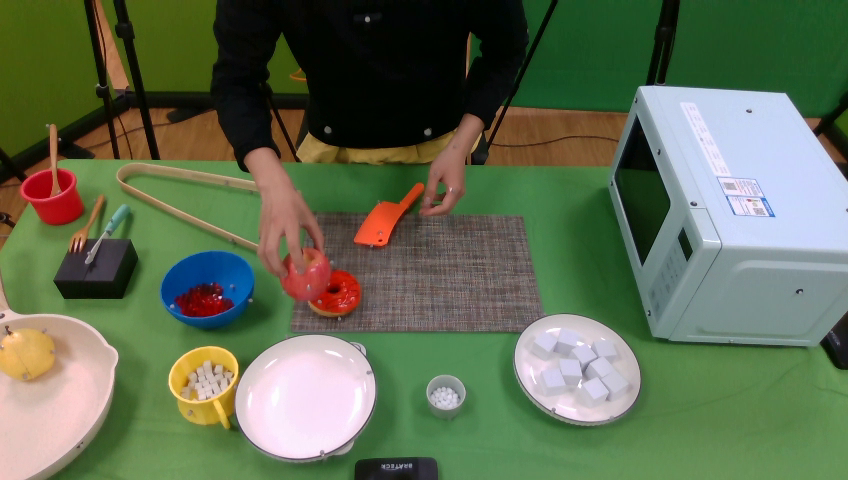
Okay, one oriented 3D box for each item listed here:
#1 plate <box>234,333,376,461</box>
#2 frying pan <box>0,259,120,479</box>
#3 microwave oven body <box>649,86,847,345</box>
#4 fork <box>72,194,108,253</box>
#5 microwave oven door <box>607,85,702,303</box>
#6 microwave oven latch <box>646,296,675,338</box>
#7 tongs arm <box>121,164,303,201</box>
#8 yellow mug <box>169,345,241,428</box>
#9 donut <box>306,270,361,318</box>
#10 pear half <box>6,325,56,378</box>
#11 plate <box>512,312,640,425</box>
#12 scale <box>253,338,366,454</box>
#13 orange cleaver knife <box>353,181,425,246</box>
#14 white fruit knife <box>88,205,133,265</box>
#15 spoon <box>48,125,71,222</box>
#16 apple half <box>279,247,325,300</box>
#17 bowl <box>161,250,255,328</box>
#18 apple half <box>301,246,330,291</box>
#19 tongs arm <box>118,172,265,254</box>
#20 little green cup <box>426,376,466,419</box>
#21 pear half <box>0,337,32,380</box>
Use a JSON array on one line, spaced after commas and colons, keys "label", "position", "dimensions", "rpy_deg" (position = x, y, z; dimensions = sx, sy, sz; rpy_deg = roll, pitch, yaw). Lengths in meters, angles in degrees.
[{"label": "plate", "position": [-0.174, 0.235, 0.907], "dimensions": [0.209, 0.038, 0.208], "rpy_deg": [2, 46, -2]}, {"label": "frying pan", "position": [-0.647, 0.164, 0.936], "dimensions": [0.307, 0.103, 0.485], "rpy_deg": [-19, 58, -22]}, {"label": "microwave oven body", "position": [0.568, -0.053, 1.118], "dimensions": [0.326, 0.261, 0.439], "rpy_deg": [2, 45, -1]}, {"label": "fork", "position": [-0.634, -0.036, 1.158], "dimensions": [0.028, 0.019, 0.206], "rpy_deg": [-8, 32, -8]}, {"label": "microwave oven door", "position": [0.423, -0.094, 1.140], "dimensions": [0.039, 0.245, 0.353], "rpy_deg": [2, 46, -1]}, {"label": "microwave oven latch", "position": [0.412, 0.134, 1.061], "dimensions": [0.030, 0.029, 0.078], "rpy_deg": [4, 45, 1]}, {"label": "tongs arm", "position": [-0.444, -0.114, 1.267], "dimensions": [0.384, 0.026, 0.050], "rpy_deg": [12, 51, 8]}, {"label": "yellow mug", "position": [-0.322, 0.230, 0.922], "dimensions": [0.100, 0.064, 0.130], "rpy_deg": [-24, 53, -25]}, {"label": "donut", "position": [-0.161, 0.095, 1.075], "dimensions": [0.099, 0.048, 0.098], "rpy_deg": [3, 44, -3]}, {"label": "pear half", "position": [-0.608, 0.158, 0.935], "dimensions": [0.076, 0.110, 0.056], "rpy_deg": [31, 51, 20]}, {"label": "plate", "position": [0.246, 0.213, 0.999], "dimensions": [0.208, 0.039, 0.206], "rpy_deg": [2, 46, -2]}, {"label": "scale", "position": [-0.175, 0.236, 0.951], "dimensions": [0.149, 0.032, 0.199], "rpy_deg": [4, 46, 0]}, {"label": "orange cleaver knife", "position": [-0.069, -0.059, 1.245], "dimensions": [0.077, 0.012, 0.210], "rpy_deg": [18, 50, 21]}, {"label": "white fruit knife", "position": [-0.584, -0.013, 1.129], "dimensions": [0.016, 0.027, 0.206], "rpy_deg": [0, 31, -5]}, {"label": "spoon", "position": [-0.718, -0.131, 1.188], "dimensions": [0.041, 0.021, 0.193], "rpy_deg": [-3, 90, -7]}, {"label": "apple half", "position": [-0.199, 0.058, 0.954], "dimensions": [0.053, 0.075, 0.080], "rpy_deg": [-28, 53, -36]}, {"label": "bowl", "position": [-0.362, 0.098, 1.040], "dimensions": [0.151, 0.077, 0.150], "rpy_deg": [2, 45, -2]}, {"label": "apple half", "position": [-0.172, 0.044, 0.978], "dimensions": [0.033, 0.081, 0.081], "rpy_deg": [-28, 53, -36]}, {"label": "tongs arm", "position": [-0.473, -0.054, 1.212], "dimensions": [0.386, 0.028, 0.028], "rpy_deg": [23, 57, 17]}, {"label": "little green cup", "position": [0.033, 0.248, 0.950], "dimensions": [0.061, 0.039, 0.061], "rpy_deg": [2, 46, -2]}, {"label": "pear half", "position": [-0.631, 0.184, 0.921], "dimensions": [0.070, 0.088, 0.031], "rpy_deg": [29, 49, 19]}]
